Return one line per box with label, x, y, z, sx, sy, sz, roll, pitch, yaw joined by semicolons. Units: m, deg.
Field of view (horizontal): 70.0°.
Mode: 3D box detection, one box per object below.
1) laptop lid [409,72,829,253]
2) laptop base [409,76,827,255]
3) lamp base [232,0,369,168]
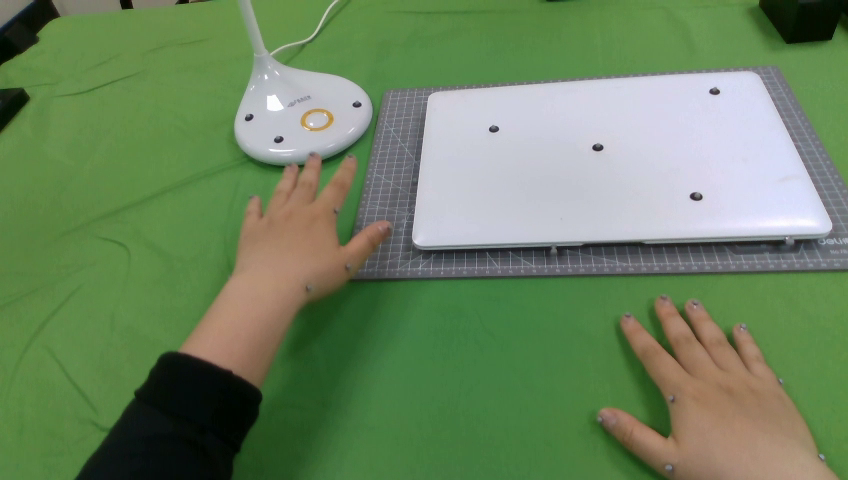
laptop lid;0.167;-0.083;0.589;0.356;0.013;0.239;-1;49;9
laptop base;0.168;-0.077;0.599;0.354;0.023;0.233;-2;50;7
lamp base;-0.162;-0.196;0.654;0.177;0.182;0.160;30;58;35
